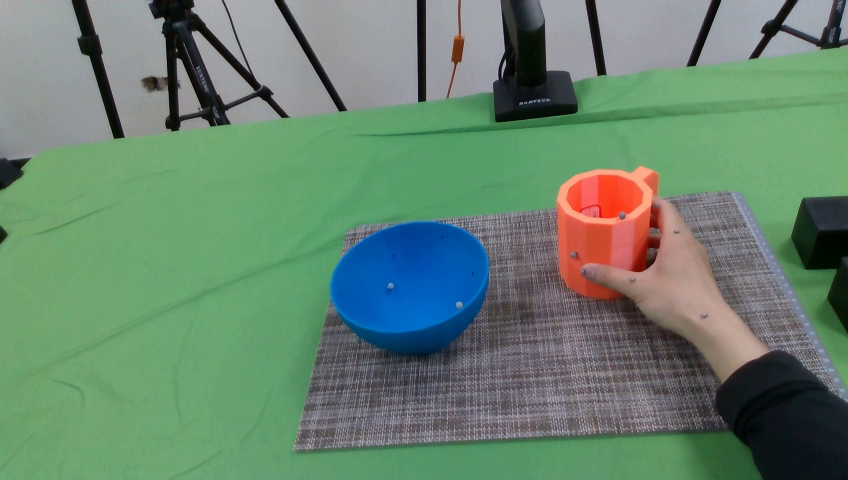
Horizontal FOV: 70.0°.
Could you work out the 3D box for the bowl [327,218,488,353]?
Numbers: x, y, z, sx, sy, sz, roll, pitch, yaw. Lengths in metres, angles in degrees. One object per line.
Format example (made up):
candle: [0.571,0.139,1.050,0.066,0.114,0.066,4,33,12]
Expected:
bowl: [-0.010,0.055,0.582,0.151,0.077,0.150,-7,40,7]

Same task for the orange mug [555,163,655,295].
orange mug: [0.187,-0.020,0.603,0.126,0.102,0.082,-39,46,-22]
